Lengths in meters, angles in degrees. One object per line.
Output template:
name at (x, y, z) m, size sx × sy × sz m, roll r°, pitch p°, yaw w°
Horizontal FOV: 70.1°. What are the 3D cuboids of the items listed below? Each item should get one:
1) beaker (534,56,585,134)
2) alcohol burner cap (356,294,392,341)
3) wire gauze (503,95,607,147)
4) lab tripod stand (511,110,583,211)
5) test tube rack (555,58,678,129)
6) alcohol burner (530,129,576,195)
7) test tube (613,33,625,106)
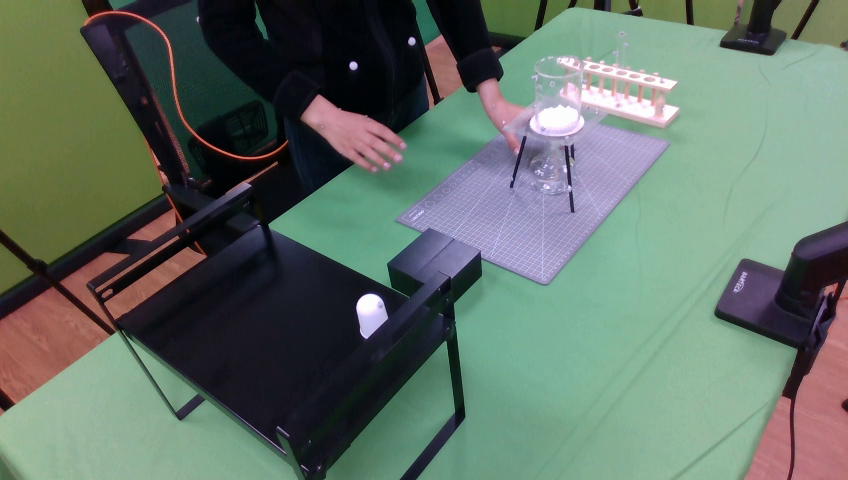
beaker at (0.209, -0.226, 0.942) m, size 0.074 × 0.101 × 0.083 m, roll -2°, pitch 41°, yaw 7°
alcohol burner cap at (-0.051, 0.074, 0.601) m, size 0.034 × 0.048 × 0.033 m, roll -5°, pitch 42°, yaw 5°
wire gauze at (0.211, -0.191, 0.976) m, size 0.120 × 0.011 × 0.125 m, roll 24°, pitch 52°, yaw 32°
lab tripod stand at (0.220, -0.138, 1.014) m, size 0.148 × 0.132 × 0.147 m, roll -3°, pitch 41°, yaw 3°
test tube rack at (0.390, -0.307, 1.229) m, size 0.240 × 0.085 × 0.067 m, roll 25°, pitch 51°, yaw 33°
alcohol burner at (0.220, -0.137, 1.028) m, size 0.078 × 0.119 × 0.077 m, roll -5°, pitch 42°, yaw 5°
test tube at (0.380, -0.330, 1.180) m, size 0.017 × 0.151 × 0.017 m, roll -7°, pitch 41°, yaw 6°
